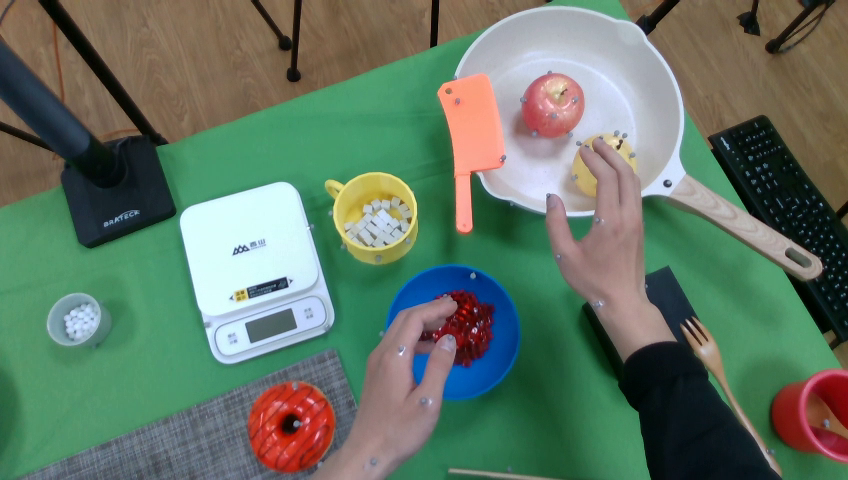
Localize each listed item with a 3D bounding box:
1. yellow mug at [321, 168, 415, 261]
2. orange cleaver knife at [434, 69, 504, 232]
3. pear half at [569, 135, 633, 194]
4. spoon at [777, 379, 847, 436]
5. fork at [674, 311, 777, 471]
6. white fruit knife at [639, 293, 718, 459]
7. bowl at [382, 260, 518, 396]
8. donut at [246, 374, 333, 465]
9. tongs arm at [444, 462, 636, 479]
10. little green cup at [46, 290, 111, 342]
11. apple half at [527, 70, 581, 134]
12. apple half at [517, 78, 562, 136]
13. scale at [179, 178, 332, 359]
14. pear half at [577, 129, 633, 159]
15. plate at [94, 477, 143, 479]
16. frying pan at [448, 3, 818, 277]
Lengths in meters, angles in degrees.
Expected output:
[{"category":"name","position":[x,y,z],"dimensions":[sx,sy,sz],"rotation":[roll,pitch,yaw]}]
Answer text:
[{"category":"yellow mug","position":[-0.074,-0.038,0.745],"dimensions":[0.130,0.064,0.099],"rotation":[34,76,9]},{"category":"orange cleaver knife","position":[0.057,-0.112,0.731],"dimensions":[0.077,0.012,0.210],"rotation":[-4,74,-2]},{"category":"pear half","position":[0.217,-0.091,0.739],"dimensions":[0.076,0.110,0.055],"rotation":[14,73,7]},{"category":"spoon","position":[0.461,0.213,0.642],"dimensions":[0.041,0.022,0.191],"rotation":[-26,31,-9]},{"category":"fork","position":[0.348,0.174,0.693],"dimensions":[0.028,0.018,0.207],"rotation":[-31,92,-12]},{"category":"white fruit knife","position":[0.287,0.156,0.689],"dimensions":[0.016,0.027,0.207],"rotation":[-24,90,-7]},{"category":"bowl","position":[0.028,0.105,0.699],"dimensions":[0.151,0.077,0.150],"rotation":[0,74,-1]},{"category":"donut","position":[-0.151,0.201,0.681],"dimensions":[0.099,0.048,0.098],"rotation":[0,75,1]},{"category":"tongs arm","position":[0.214,0.279,0.676],"dimensions":[0.387,0.028,0.028],"rotation":[7,66,1]},{"category":"little green cup","position":[-0.404,0.092,0.714],"dimensions":[0.061,0.039,0.061],"rotation":[0,73,-1]},{"category":"apple half","position":[0.172,-0.181,0.783],"dimensions":[0.053,0.075,0.080],"rotation":[-30,73,-13]},{"category":"apple half","position":[0.139,-0.161,0.775],"dimensions":[0.033,0.081,0.081],"rotation":[-29,76,-15]},{"category":"scale","position":[-0.207,0.031,0.740],"dimensions":[0.149,0.032,0.199],"rotation":[-18,75,-6]},{"category":"pear half","position":[0.228,-0.121,0.758],"dimensions":[0.070,0.088,0.031],"rotation":[13,75,5]},{"category":"plate","position":[-0.329,0.356,0.635],"dimensions":[0.209,0.038,0.208],"rotation":[0,74,-1]},{"category":"frying pan","position":[0.252,-0.103,0.751],"dimensions":[0.485,0.103,0.306],"rotation":[38,77,18]}]
